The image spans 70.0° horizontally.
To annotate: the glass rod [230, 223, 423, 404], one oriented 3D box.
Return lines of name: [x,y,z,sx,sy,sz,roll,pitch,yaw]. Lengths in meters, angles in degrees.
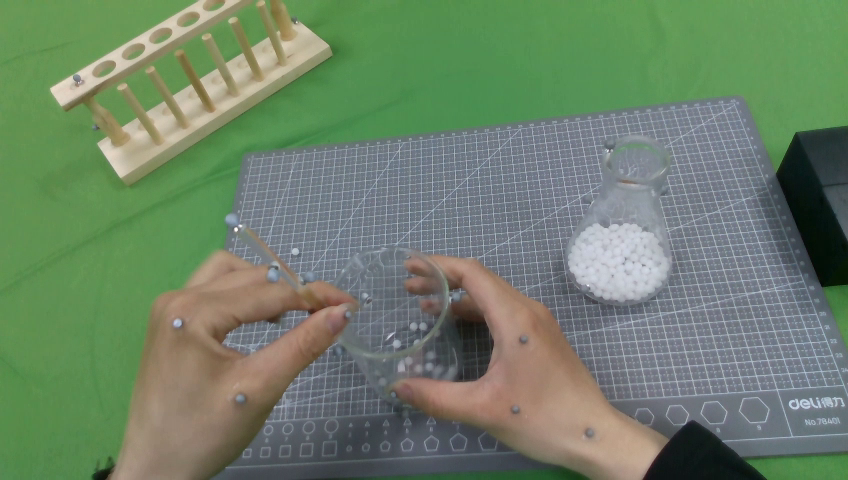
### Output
glass rod: [-0.044,0.052,0.342,0.008,0.202,0.008,-16,48,19]

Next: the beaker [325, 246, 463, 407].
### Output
beaker: [-0.016,0.059,0.394,0.074,0.101,0.083,-31,56,-10]

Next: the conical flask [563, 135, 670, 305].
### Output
conical flask: [0.132,-0.015,0.401,0.075,0.123,0.074,-5,56,8]

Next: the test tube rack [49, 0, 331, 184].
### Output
test tube rack: [-0.217,-0.166,0.589,0.242,0.086,0.066,-38,58,-14]
